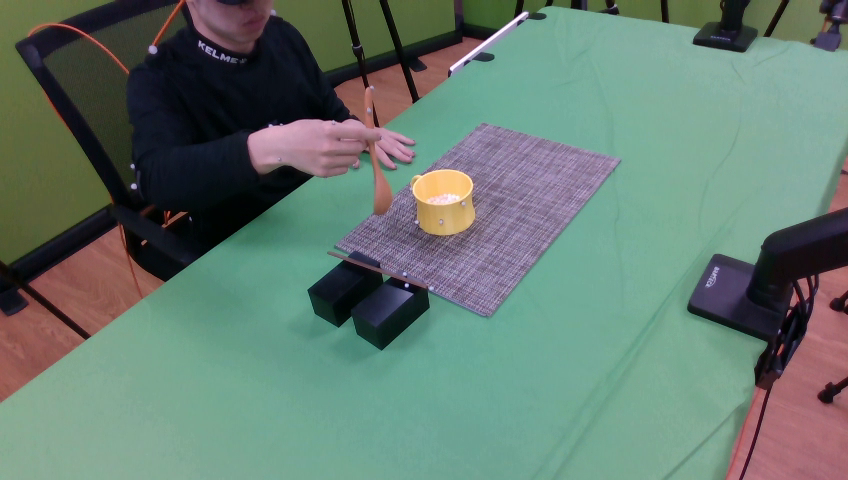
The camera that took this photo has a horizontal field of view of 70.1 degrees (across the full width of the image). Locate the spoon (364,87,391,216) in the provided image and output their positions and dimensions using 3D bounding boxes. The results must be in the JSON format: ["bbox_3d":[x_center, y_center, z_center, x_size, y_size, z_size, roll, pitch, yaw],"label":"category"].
[{"bbox_3d":[-0.072,-0.123,0.871,0.021,0.194,0.042,14,34,38],"label":"spoon"}]

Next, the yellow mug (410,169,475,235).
[{"bbox_3d":[0.022,-0.070,1.007,0.129,0.064,0.100,29,52,36],"label":"yellow mug"}]

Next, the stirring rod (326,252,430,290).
[{"bbox_3d":[-0.068,0.043,0.859,0.175,0.006,0.014,17,10,26],"label":"stirring rod"}]
